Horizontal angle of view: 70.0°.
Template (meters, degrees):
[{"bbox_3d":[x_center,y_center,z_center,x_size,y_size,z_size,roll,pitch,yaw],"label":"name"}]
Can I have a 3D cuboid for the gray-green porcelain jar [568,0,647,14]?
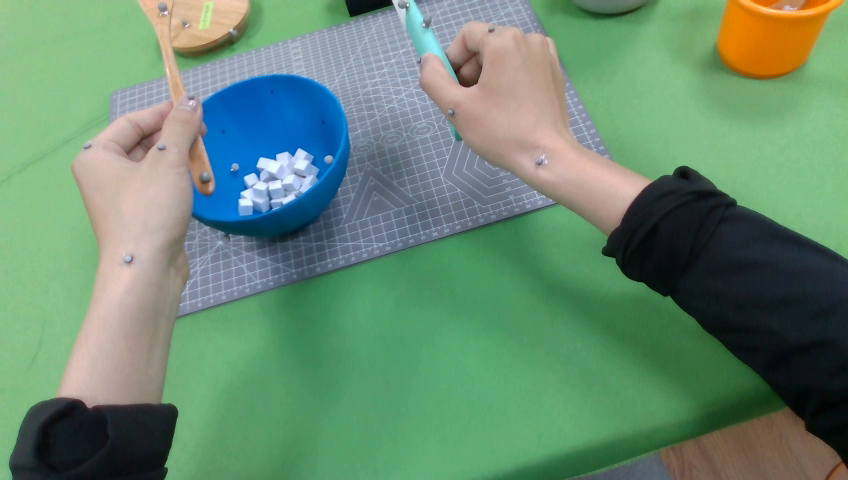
[{"bbox_3d":[0.177,-0.288,0.564,0.106,0.128,0.105,-5,58,9],"label":"gray-green porcelain jar"}]

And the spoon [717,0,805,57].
[{"bbox_3d":[0.325,-0.213,0.477,0.022,0.194,0.041,12,55,-35],"label":"spoon"}]

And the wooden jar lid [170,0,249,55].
[{"bbox_3d":[-0.247,-0.248,0.682,0.108,0.021,0.107,-4,59,7],"label":"wooden jar lid"}]

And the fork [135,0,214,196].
[{"bbox_3d":[-0.175,-0.124,0.418,0.028,0.019,0.206,-13,73,-23],"label":"fork"}]

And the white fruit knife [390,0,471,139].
[{"bbox_3d":[-0.012,-0.169,0.459,0.016,0.027,0.206,-16,72,-27],"label":"white fruit knife"}]

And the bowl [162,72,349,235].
[{"bbox_3d":[-0.128,-0.058,0.507,0.151,0.077,0.150,-5,58,8],"label":"bowl"}]
